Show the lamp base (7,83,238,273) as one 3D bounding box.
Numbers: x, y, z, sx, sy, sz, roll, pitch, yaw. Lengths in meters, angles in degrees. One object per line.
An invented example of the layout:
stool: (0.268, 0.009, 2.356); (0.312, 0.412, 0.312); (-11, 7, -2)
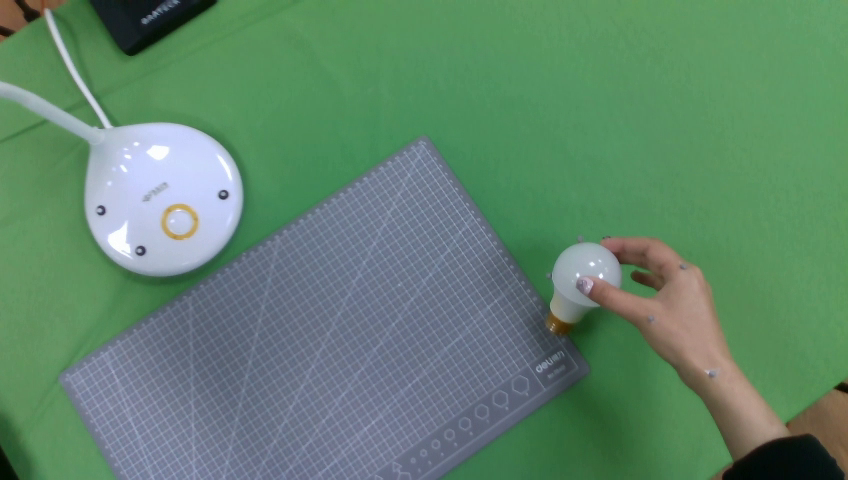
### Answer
lamp base: (-0.284, -0.064, 0.551); (0.178, 0.181, 0.160); (41, 85, 9)

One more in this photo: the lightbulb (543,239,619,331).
lightbulb: (0.139, 0.046, 0.562); (0.060, 0.108, 0.059); (11, 41, -9)
